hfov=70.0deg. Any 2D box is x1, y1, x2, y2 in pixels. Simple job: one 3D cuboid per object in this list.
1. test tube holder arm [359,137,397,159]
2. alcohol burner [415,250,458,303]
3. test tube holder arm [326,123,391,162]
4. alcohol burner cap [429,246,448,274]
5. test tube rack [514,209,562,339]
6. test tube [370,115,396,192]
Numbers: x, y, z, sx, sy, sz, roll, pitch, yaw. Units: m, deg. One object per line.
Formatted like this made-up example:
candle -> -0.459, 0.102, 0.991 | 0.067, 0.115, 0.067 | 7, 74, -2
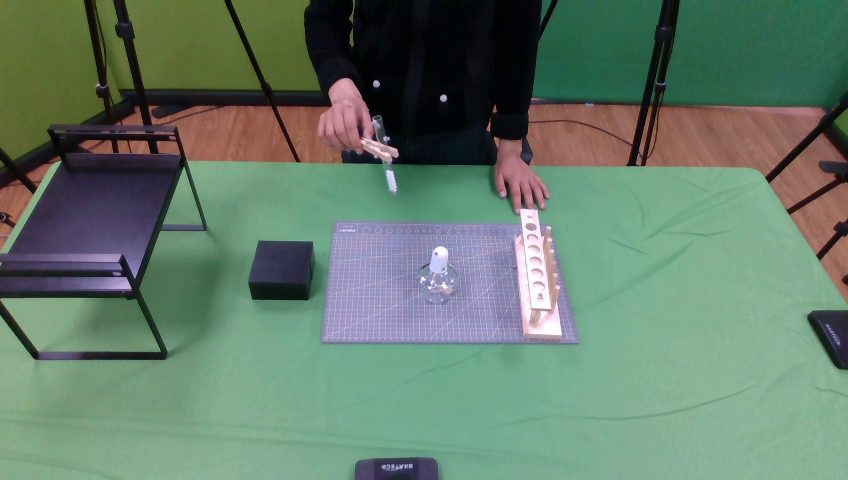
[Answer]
test tube holder arm -> -0.081, -0.156, 1.023 | 0.087, 0.015, 0.010 | 24, 49, 33
alcohol burner -> 0.024, 0.057, 1.078 | 0.078, 0.119, 0.077 | 3, 44, -2
test tube holder arm -> -0.117, -0.171, 1.047 | 0.013, 0.015, 0.177 | -34, 46, -29
alcohol burner cap -> 0.027, 0.032, 1.053 | 0.034, 0.048, 0.033 | 4, 40, -3
test tube rack -> 0.212, 0.056, 1.113 | 0.067, 0.085, 0.241 | 3, 46, -1
test tube -> -0.067, -0.140, 1.013 | 0.017, 0.151, 0.017 | -7, 42, 6
